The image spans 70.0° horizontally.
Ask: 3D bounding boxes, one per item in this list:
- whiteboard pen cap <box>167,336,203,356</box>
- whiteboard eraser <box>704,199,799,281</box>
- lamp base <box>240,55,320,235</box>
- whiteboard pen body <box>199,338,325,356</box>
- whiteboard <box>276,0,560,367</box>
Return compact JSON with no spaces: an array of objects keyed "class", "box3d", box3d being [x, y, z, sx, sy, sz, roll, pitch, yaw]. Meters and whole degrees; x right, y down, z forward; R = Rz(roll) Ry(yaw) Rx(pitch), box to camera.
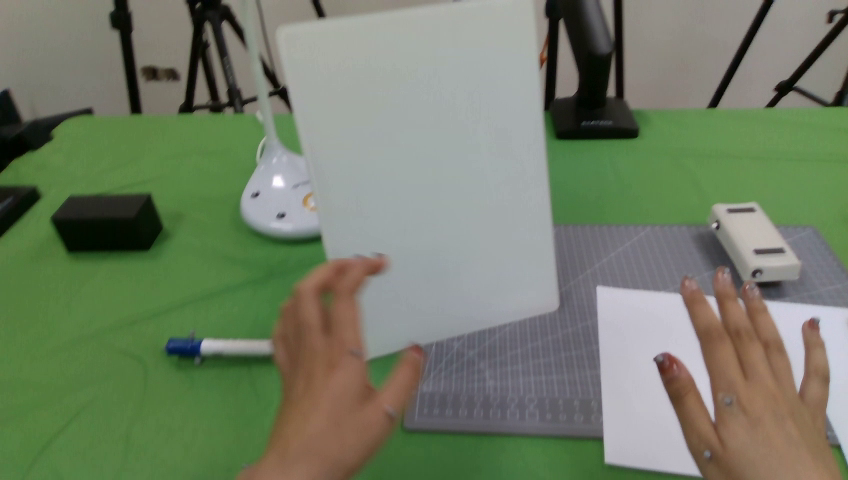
[{"class":"whiteboard pen cap","box3d":[-0.224,0.100,0.572,0.033,0.018,0.018,3,37,-3]},{"class":"whiteboard eraser","box3d":[0.348,0.001,0.649,0.055,0.042,0.111,-1,38,1]},{"class":"lamp base","box3d":[-0.165,-0.122,0.733,0.160,0.182,0.177,-32,44,-32]},{"class":"whiteboard pen body","box3d":[-0.164,0.101,0.573,0.141,0.017,0.017,1,38,-1]},{"class":"whiteboard","box3d":[-0.005,-0.067,0.596,0.217,0.307,0.142,-13,20,-11]}]
